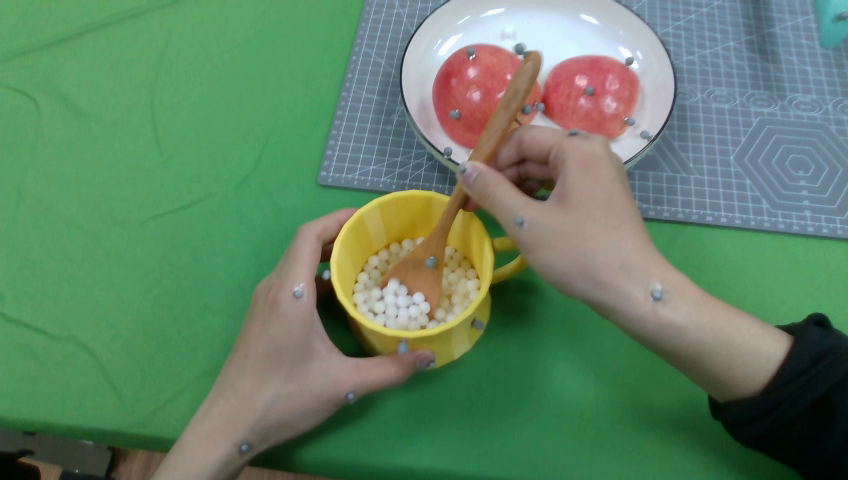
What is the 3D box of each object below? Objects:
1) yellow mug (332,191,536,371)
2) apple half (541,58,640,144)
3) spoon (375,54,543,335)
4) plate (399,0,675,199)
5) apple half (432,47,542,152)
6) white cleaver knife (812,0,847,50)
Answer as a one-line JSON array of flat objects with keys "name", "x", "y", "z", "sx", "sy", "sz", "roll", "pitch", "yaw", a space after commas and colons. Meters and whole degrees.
[{"name": "yellow mug", "x": 0.010, "y": 0.024, "z": 0.392, "sx": 0.131, "sy": 0.064, "sz": 0.099, "roll": -14, "pitch": 64, "yaw": -6}, {"name": "apple half", "x": 0.128, "y": -0.115, "z": 0.464, "sx": 0.081, "sy": 0.033, "sz": 0.080, "roll": -1, "pitch": 65, "yaw": 2}, {"name": "spoon", "x": 0.021, "y": -0.020, "z": 0.363, "sx": 0.041, "sy": 0.194, "sz": 0.021, "roll": 35, "pitch": 27, "yaw": 15}, {"name": "plate", "x": 0.084, "y": -0.117, "z": 0.474, "sx": 0.209, "sy": 0.038, "sz": 0.207, "roll": -1, "pitch": 62, "yaw": 2}, {"name": "apple half", "x": 0.046, "y": -0.113, "z": 0.456, "sx": 0.081, "sy": 0.054, "sz": 0.074, "roll": -33, "pitch": 63, "yaw": -13}, {"name": "white cleaver knife", "x": 0.327, "y": -0.264, "z": 0.525, "sx": 0.021, "sy": 0.066, "sz": 0.284, "roll": 5, "pitch": 59, "yaw": 11}]
